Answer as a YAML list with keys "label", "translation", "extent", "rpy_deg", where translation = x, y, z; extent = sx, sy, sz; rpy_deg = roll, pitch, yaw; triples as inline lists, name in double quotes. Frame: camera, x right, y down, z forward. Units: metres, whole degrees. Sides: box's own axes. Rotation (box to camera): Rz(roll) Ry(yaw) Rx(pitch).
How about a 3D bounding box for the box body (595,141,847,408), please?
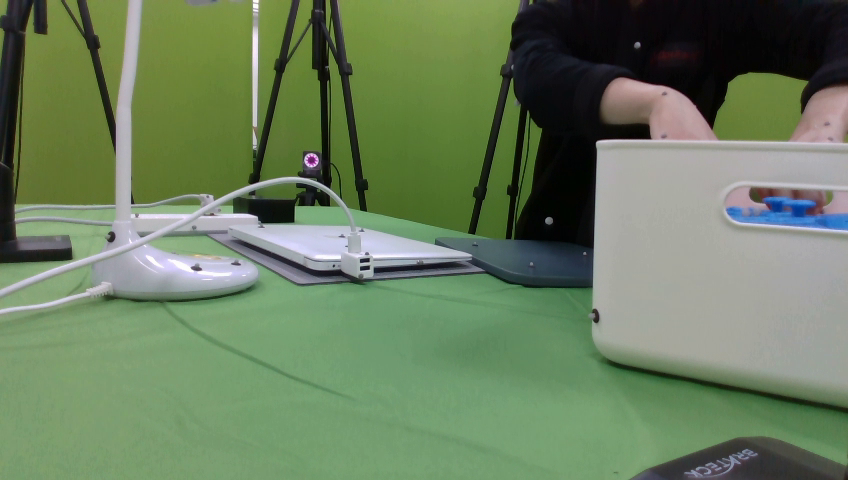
- label: "box body"
  translation: [0.309, 0.006, 0.509]
  extent: [0.253, 0.160, 0.366]
  rpy_deg: [6, 8, 29]

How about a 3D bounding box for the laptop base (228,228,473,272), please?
- label: "laptop base"
  translation: [-0.123, 0.012, 0.889]
  extent: [0.237, 0.023, 0.352]
  rpy_deg: [2, 6, -35]

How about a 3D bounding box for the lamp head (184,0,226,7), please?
- label: "lamp head"
  translation: [-0.229, -0.320, 0.627]
  extent: [0.112, 0.112, 0.123]
  rpy_deg: [6, -35, 26]

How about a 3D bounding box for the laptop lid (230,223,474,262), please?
- label: "laptop lid"
  translation: [-0.121, 0.000, 0.888]
  extent: [0.243, 0.013, 0.355]
  rpy_deg: [1, 7, -33]

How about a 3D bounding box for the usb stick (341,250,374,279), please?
- label: "usb stick"
  translation: [-0.078, 0.026, 0.686]
  extent: [0.021, 0.027, 0.059]
  rpy_deg: [-8, 8, -30]

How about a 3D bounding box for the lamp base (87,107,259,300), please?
- label: "lamp base"
  translation: [-0.254, -0.039, 0.603]
  extent: [0.160, 0.180, 0.179]
  rpy_deg: [5, 10, 18]

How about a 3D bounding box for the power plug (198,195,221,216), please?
- label: "power plug"
  translation: [-0.386, -0.055, 1.088]
  extent: [0.035, 0.052, 0.072]
  rpy_deg: [-1, 6, -24]

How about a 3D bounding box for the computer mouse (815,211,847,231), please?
- label: "computer mouse"
  translation: [0.341, 0.002, 0.466]
  extent: [0.062, 0.041, 0.117]
  rpy_deg: [7, 14, 20]

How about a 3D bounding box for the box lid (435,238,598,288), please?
- label: "box lid"
  translation: [0.185, 0.029, 0.896]
  extent: [0.264, 0.015, 0.370]
  rpy_deg: [1, 7, -16]

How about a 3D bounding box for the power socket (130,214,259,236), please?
- label: "power socket"
  translation: [-0.397, -0.028, 1.048]
  extent: [0.228, 0.032, 0.072]
  rpy_deg: [-3, 7, -35]

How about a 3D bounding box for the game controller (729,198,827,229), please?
- label: "game controller"
  translation: [0.257, -0.004, 0.445]
  extent: [0.097, 0.051, 0.155]
  rpy_deg: [1, 7, 14]
